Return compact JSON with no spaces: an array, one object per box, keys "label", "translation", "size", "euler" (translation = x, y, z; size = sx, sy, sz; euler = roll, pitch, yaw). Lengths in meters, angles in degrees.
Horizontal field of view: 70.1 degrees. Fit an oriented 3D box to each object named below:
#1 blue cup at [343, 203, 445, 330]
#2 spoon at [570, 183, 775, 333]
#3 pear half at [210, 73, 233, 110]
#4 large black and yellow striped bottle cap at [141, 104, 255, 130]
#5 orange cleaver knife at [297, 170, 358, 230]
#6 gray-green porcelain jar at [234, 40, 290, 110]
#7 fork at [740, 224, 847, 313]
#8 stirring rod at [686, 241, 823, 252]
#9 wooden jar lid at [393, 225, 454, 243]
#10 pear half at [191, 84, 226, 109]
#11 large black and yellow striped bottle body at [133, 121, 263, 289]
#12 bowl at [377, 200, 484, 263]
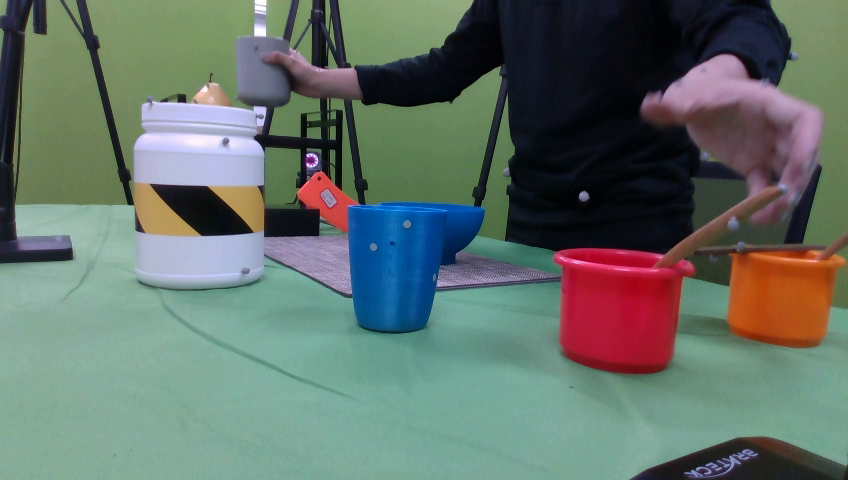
[{"label":"blue cup","translation":[-0.027,0.021,0.510],"size":[0.093,0.100,0.092],"euler":[3,5,0]},{"label":"spoon","translation":[0.160,0.020,0.413],"size":[0.042,0.021,0.193],"euler":[0,-36,-23]},{"label":"pear half","translation":[-0.402,-0.262,1.162],"size":[0.076,0.109,0.056],"euler":[6,7,2]},{"label":"large black and yellow striped bottle cap","translation":[-0.241,-0.131,0.650],"size":[0.115,0.019,0.115],"euler":[3,8,0]},{"label":"orange cleaver knife","translation":[-0.149,-0.058,1.170],"size":[0.212,0.077,0.012],"euler":[33,-15,-32]},{"label":"gray-green porcelain jar","translation":[-0.327,-0.331,1.229],"size":[0.106,0.126,0.106],"euler":[-1,7,0]},{"label":"fork","translation":[0.323,0.013,0.485],"size":[0.028,0.018,0.207],"euler":[9,-38,-5]},{"label":"stirring rod","translation":[0.290,0.005,0.525],"size":[0.177,0.006,0.014],"euler":[-1,5,-26]},{"label":"wooden jar lid","translation":[-0.001,-0.011,1.057],"size":[0.108,0.020,0.108],"euler":[8,5,0]},{"label":"pear half","translation":[-0.406,-0.248,1.128],"size":[0.070,0.088,0.031],"euler":[6,7,1]},{"label":"large black and yellow striped bottle body","translation":[-0.243,-0.048,0.659],"size":[0.131,0.184,0.130],"euler":[2,7,0]},{"label":"bowl","translation":[0.008,-0.012,0.842],"size":[0.151,0.077,0.151],"euler":[2,7,0]}]
